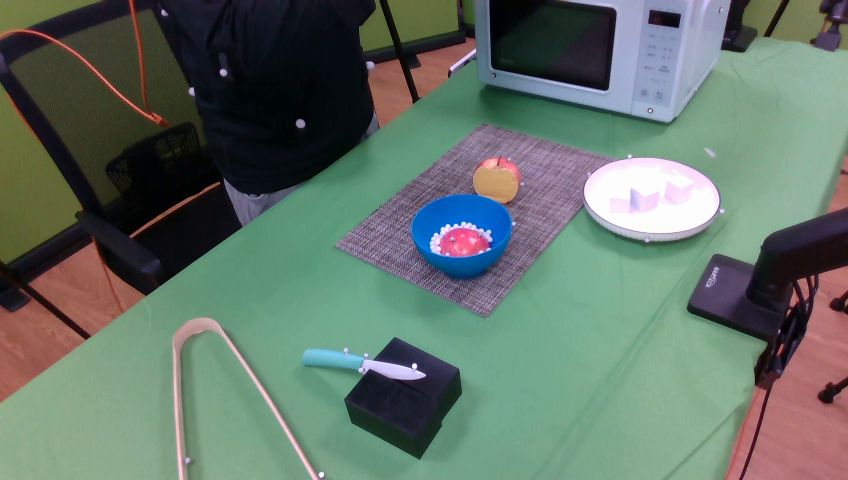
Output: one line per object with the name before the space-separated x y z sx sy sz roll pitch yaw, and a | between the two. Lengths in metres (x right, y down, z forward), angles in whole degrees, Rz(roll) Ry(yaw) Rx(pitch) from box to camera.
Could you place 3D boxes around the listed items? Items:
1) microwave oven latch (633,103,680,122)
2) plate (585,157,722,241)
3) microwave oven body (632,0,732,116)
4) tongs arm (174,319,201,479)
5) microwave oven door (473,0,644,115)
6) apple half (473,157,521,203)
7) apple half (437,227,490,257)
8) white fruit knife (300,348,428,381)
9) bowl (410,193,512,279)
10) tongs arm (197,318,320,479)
microwave oven latch | 0.443 -0.249 1.157 0.078 0.029 0.030 21 48 30
plate | 0.367 -0.063 0.979 0.207 0.039 0.206 -4 41 4
microwave oven body | 0.377 -0.463 1.267 0.438 0.261 0.327 21 48 30
tongs arm | -0.272 0.234 0.723 0.051 0.026 0.381 -19 40 -15
microwave oven door | 0.257 -0.396 1.199 0.353 0.245 0.039 21 48 29
apple half | 0.128 -0.107 1.030 0.080 0.075 0.053 4 38 19
apple half | 0.056 0.002 0.902 0.081 0.033 0.081 -3 42 3
white fruit knife | -0.080 0.154 0.748 0.206 0.027 0.016 0 20 34
bowl | 0.058 0.005 0.905 0.151 0.077 0.150 -4 40 4
tongs arm | -0.200 0.207 0.750 0.028 0.028 0.384 -31 45 -22
